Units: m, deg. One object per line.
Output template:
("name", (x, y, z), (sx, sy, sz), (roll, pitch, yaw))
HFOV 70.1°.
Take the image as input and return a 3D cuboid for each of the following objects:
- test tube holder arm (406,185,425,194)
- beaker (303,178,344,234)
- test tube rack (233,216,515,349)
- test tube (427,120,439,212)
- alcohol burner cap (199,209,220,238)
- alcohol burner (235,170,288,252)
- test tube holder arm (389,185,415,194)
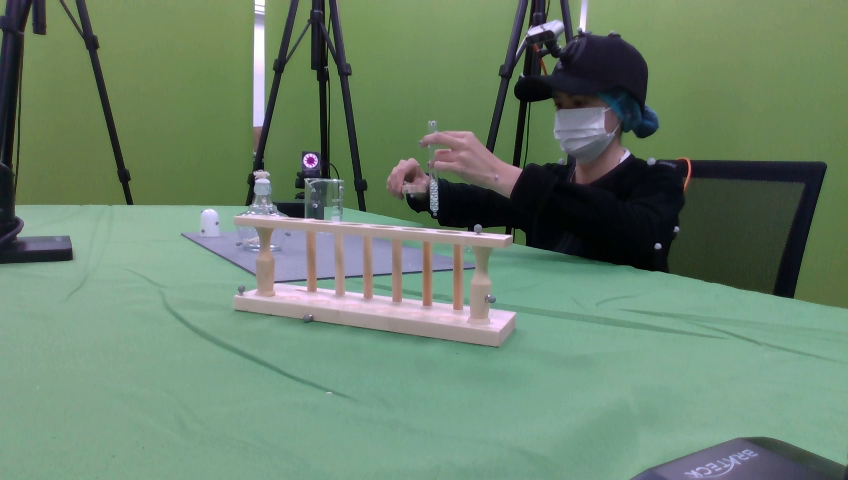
("test tube holder arm", (-0.021, -0.089, 1.069), (0.010, 0.015, 0.087), (2, 5, -27))
("beaker", (-0.189, -0.063, 1.119), (0.073, 0.100, 0.084), (6, 9, 28))
("test tube rack", (-0.045, 0.029, 0.526), (0.241, 0.085, 0.067), (5, 7, 19))
("test tube", (0.015, -0.121, 0.995), (0.017, 0.150, 0.017), (-1, 8, 1))
("alcohol burner cap", (-0.356, -0.027, 1.002), (0.034, 0.048, 0.034), (2, 7, 0))
("alcohol burner", (-0.236, -0.042, 0.882), (0.078, 0.119, 0.078), (2, 9, 0))
("test tube holder arm", (-0.042, -0.093, 1.109), (0.013, 0.015, 0.178), (3, 4, -17))
